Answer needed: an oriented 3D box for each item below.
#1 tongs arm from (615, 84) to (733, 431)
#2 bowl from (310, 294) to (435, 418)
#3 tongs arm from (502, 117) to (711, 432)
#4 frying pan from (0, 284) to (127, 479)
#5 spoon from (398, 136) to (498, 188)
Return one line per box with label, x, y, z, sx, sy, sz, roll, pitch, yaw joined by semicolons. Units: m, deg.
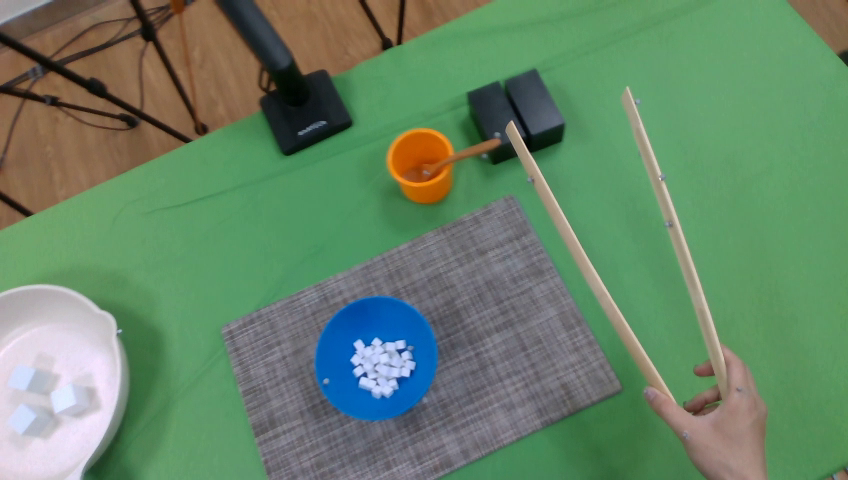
tongs arm;0.255;0.007;0.655;0.051;0.026;0.382;-13;75;-10
bowl;-0.057;0.149;0.759;0.151;0.077;0.150;-2;69;6
tongs arm;0.181;0.030;0.643;0.028;0.028;0.385;-24;77;-16
frying pan;-0.465;0.273;0.751;0.307;0.104;0.483;-38;61;-7
spoon;0.027;-0.106;0.811;0.022;0.193;0.041;27;65;-29
